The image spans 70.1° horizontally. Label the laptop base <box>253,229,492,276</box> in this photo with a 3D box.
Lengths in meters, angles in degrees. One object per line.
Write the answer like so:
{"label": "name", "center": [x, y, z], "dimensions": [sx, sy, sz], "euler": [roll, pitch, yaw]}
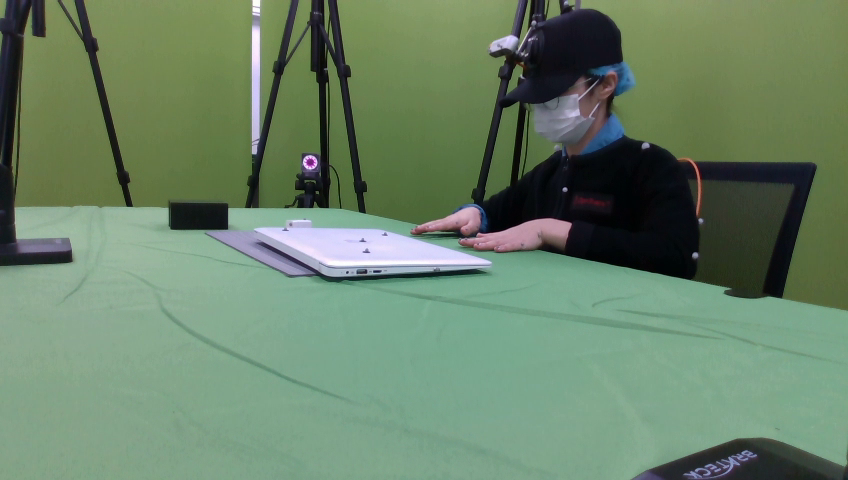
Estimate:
{"label": "laptop base", "center": [-0.094, 0.016, 0.889], "dimensions": [0.237, 0.023, 0.352], "euler": [2, 7, -30]}

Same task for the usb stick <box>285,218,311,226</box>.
{"label": "usb stick", "center": [-0.235, -0.025, 1.102], "dimensions": [0.021, 0.027, 0.059], "euler": [9, 13, 37]}

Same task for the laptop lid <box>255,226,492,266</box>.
{"label": "laptop lid", "center": [-0.092, 0.003, 0.888], "dimensions": [0.243, 0.013, 0.355], "euler": [1, 8, -28]}
